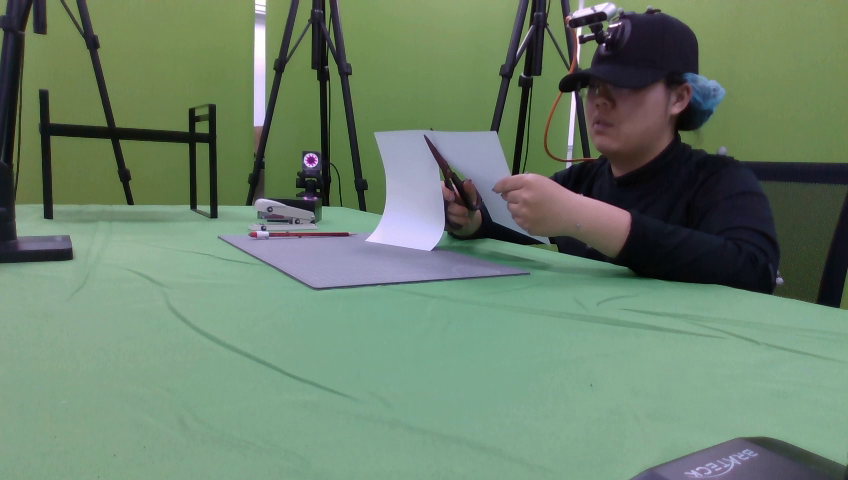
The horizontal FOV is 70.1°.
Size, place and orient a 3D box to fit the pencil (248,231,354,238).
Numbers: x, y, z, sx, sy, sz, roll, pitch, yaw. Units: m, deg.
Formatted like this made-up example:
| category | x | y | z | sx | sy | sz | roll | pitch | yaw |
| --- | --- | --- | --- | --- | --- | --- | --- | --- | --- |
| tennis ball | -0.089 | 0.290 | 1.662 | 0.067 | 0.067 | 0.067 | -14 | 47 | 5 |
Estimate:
| category | x | y | z | sx | sy | sz | roll | pitch | yaw |
| --- | --- | --- | --- | --- | --- | --- | --- | --- | --- |
| pencil | -0.206 | -0.009 | 1.039 | 0.195 | 0.012 | 0.012 | 0 | 8 | -36 |

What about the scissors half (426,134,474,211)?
| category | x | y | z | sx | sy | sz | roll | pitch | yaw |
| --- | --- | --- | --- | --- | --- | --- | --- | --- | --- |
| scissors half | 0.043 | -0.108 | 0.973 | 0.012 | 0.040 | 0.176 | 10 | -27 | 37 |

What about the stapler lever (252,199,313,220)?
| category | x | y | z | sx | sy | sz | roll | pitch | yaw |
| --- | --- | --- | --- | --- | --- | --- | --- | --- | --- |
| stapler lever | -0.273 | -0.058 | 1.170 | 0.119 | 0.040 | 0.026 | 0 | 10 | -37 |

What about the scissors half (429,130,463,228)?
| category | x | y | z | sx | sy | sz | roll | pitch | yaw |
| --- | --- | --- | --- | --- | --- | --- | --- | --- | --- |
| scissors half | 0.032 | -0.093 | 0.961 | 0.013 | 0.175 | 0.040 | 5 | 35 | 34 |

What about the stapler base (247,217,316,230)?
| category | x | y | z | sx | sy | sz | roll | pitch | yaw |
| --- | --- | --- | --- | --- | --- | --- | --- | --- | --- |
| stapler base | -0.276 | -0.033 | 1.172 | 0.131 | 0.024 | 0.041 | 0 | 10 | -37 |
